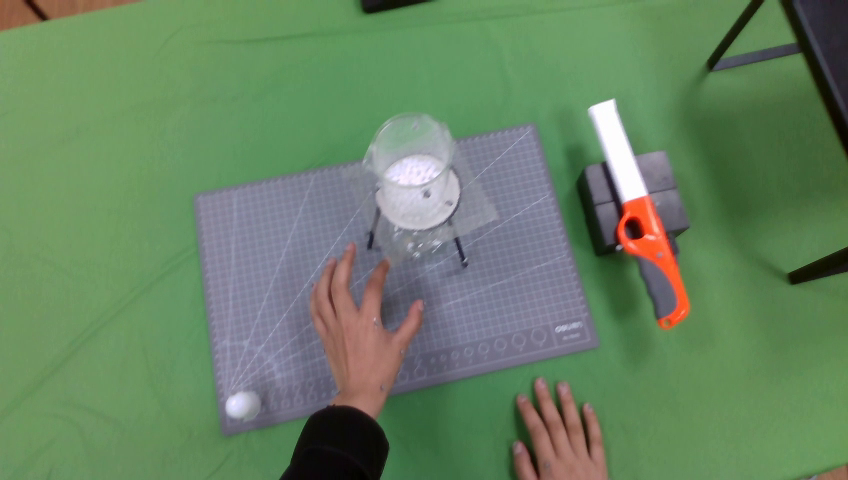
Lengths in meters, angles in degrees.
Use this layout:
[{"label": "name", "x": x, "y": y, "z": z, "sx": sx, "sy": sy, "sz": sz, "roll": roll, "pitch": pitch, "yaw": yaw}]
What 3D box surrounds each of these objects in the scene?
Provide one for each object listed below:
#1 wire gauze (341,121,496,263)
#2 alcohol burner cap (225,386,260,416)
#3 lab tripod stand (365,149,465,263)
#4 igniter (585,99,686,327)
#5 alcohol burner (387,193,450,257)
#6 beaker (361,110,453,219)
[{"label": "wire gauze", "x": -0.007, "y": -0.051, "z": 0.629, "sx": 0.125, "sy": 0.011, "sz": 0.121, "roll": -25, "pitch": 76, "yaw": -8}, {"label": "alcohol burner cap", "x": -0.207, "y": 0.181, "z": 0.683, "sx": 0.034, "sy": 0.048, "sz": 0.033, "roll": -1, "pitch": 72, "yaw": 2}, {"label": "lab tripod stand", "x": -0.006, "y": -0.040, "z": 0.695, "sx": 0.148, "sy": 0.132, "sz": 0.147, "roll": 0, "pitch": 73, "yaw": 2}, {"label": "igniter", "x": 0.244, "y": -0.036, "z": 0.701, "sx": 0.057, "sy": 0.025, "sz": 0.275, "roll": -17, "pitch": 74, "yaw": 8}, {"label": "alcohol burner", "x": -0.006, "y": -0.022, "z": 0.700, "sx": 0.078, "sy": 0.119, "sz": 0.077, "roll": 0, "pitch": 76, "yaw": 0}, {"label": "beaker", "x": -0.015, "y": -0.067, "z": 0.584, "sx": 0.084, "sy": 0.101, "sz": 0.073, "roll": -14, "pitch": 73, "yaw": -3}]
